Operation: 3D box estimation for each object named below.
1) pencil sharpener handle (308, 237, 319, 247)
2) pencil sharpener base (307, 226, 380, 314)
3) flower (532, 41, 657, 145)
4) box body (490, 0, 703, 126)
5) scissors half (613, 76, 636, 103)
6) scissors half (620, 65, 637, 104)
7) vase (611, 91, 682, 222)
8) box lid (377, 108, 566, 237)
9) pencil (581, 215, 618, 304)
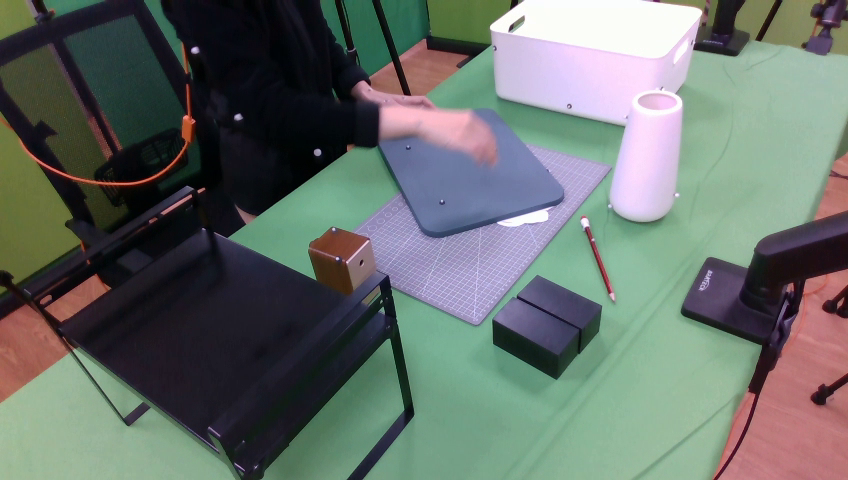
[{"bbox_3d":[-0.158,0.017,0.892,0.030,0.068,0.036,18,61,28],"label":"pencil sharpener handle"},{"bbox_3d":[-0.116,0.043,0.875,0.076,0.107,0.061,18,47,27],"label":"pencil sharpener base"},{"bbox_3d":[0.370,-0.320,1.323,0.359,0.044,0.038,47,37,21],"label":"flower"},{"bbox_3d":[0.352,-0.384,1.268,0.361,0.161,0.255,21,48,29],"label":"box body"},{"bbox_3d":[0.425,-0.330,1.305,0.013,0.040,0.174,37,28,-14],"label":"scissors half"},{"bbox_3d":[0.434,-0.340,1.298,0.013,0.040,0.175,31,36,-12],"label":"scissors half"},{"bbox_3d":[0.348,-0.125,0.935,0.098,0.201,0.097,-3,40,3],"label":"vase"},{"bbox_3d":[0.074,-0.141,1.136,0.264,0.015,0.368,-16,40,-10],"label":"box lid"},{"bbox_3d":[0.266,0.026,0.917,0.012,0.012,0.193,-6,42,1],"label":"pencil"}]
